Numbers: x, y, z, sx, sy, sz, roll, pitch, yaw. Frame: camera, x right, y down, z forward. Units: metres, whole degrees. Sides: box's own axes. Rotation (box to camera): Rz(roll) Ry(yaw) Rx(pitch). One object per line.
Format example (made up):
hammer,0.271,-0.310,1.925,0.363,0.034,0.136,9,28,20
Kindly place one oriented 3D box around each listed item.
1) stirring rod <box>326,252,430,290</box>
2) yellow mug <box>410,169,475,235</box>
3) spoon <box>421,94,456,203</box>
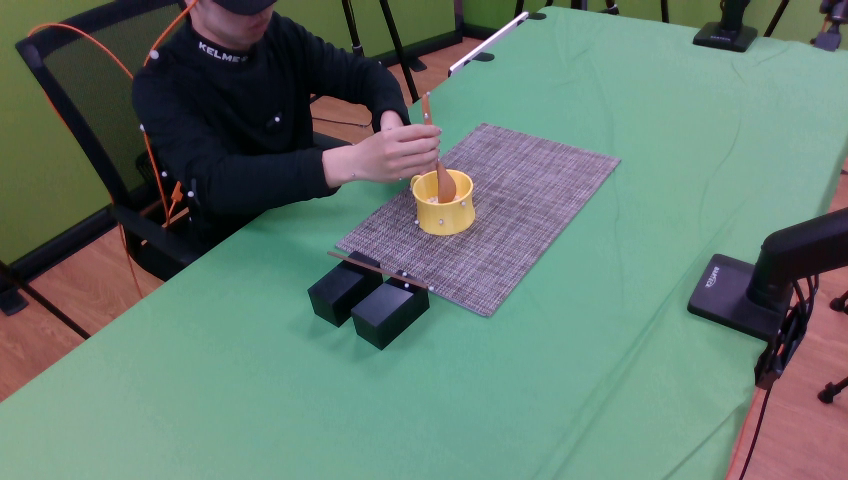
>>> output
stirring rod,-0.068,0.043,0.859,0.175,0.006,0.014,17,11,26
yellow mug,0.022,-0.070,1.007,0.129,0.064,0.100,29,52,36
spoon,0.018,-0.131,0.921,0.042,0.195,0.021,-36,38,-25
